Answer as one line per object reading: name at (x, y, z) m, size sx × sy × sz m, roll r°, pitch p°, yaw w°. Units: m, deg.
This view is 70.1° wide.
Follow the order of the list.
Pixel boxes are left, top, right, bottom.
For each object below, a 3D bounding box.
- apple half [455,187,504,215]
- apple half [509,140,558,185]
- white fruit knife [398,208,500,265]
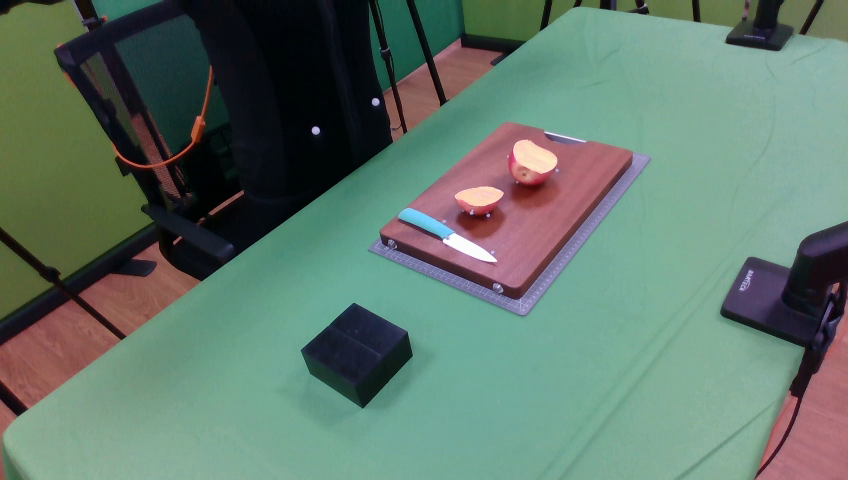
apple half at (0.094, -0.060, 0.988) m, size 0.081 × 0.033 × 0.081 m, roll -4°, pitch 24°, yaw 2°
apple half at (0.180, -0.124, 1.028) m, size 0.081 × 0.053 × 0.074 m, roll 25°, pitch 44°, yaw 3°
white fruit knife at (0.038, -0.007, 0.950) m, size 0.205 × 0.016 × 0.027 m, roll 29°, pitch 81°, yaw 35°
